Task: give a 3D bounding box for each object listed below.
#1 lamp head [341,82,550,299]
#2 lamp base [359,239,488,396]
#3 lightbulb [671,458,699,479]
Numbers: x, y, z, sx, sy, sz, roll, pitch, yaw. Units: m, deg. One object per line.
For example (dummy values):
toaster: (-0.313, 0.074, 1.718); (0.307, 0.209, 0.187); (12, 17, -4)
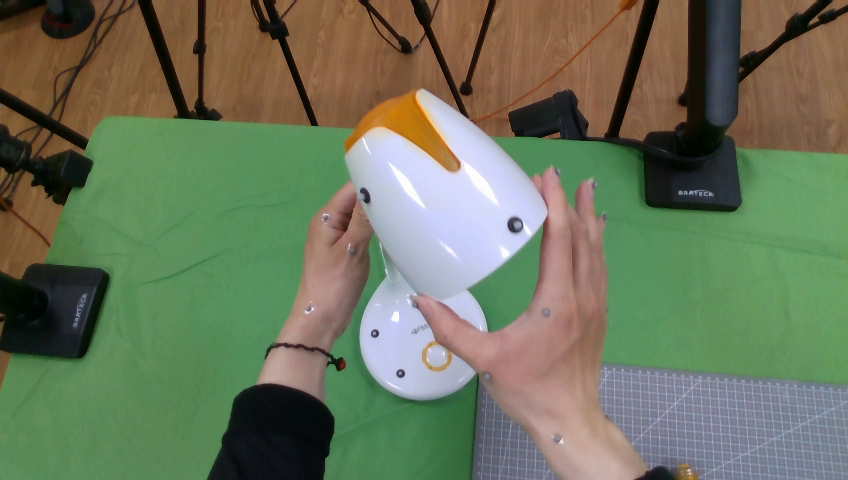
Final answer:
lamp head: (0.003, -0.040, 0.401); (0.112, 0.112, 0.123); (-43, 97, -13)
lamp base: (-0.014, 0.073, 0.685); (0.160, 0.181, 0.177); (-34, 67, -11)
lightbulb: (0.289, 0.287, 0.648); (0.059, 0.060, 0.106); (-2, 52, 3)
